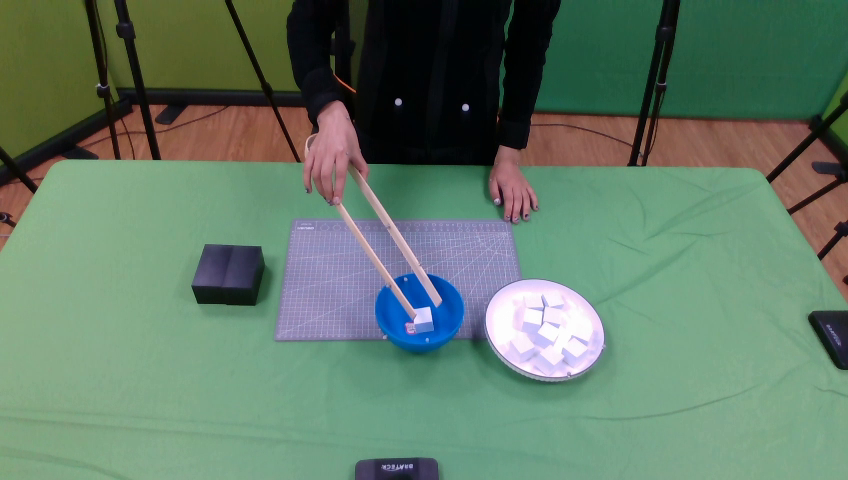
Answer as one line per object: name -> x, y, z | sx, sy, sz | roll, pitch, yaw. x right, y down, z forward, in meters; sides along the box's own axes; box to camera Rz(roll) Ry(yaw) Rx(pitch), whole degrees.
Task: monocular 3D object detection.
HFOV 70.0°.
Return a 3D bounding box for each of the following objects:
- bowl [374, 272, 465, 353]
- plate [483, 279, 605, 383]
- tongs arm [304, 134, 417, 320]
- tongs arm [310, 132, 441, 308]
bowl -> -0.009, 0.136, 1.024 | 0.151, 0.077, 0.150 | 2, 47, -2
plate -> 0.204, 0.158, 1.046 | 0.208, 0.039, 0.206 | 3, 47, -3
tongs arm -> -0.114, -0.029, 1.021 | 0.028, 0.028, 0.385 | -25, 69, -23
tongs arm -> -0.089, -0.040, 1.036 | 0.051, 0.026, 0.383 | -22, 67, -26
